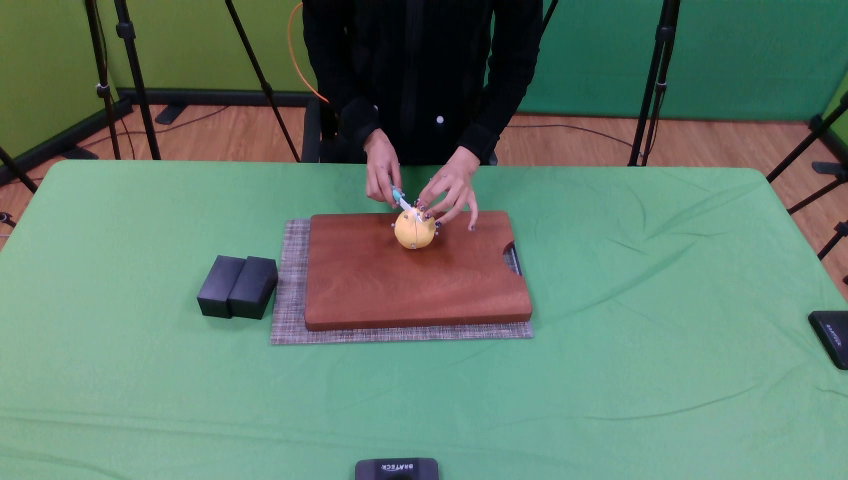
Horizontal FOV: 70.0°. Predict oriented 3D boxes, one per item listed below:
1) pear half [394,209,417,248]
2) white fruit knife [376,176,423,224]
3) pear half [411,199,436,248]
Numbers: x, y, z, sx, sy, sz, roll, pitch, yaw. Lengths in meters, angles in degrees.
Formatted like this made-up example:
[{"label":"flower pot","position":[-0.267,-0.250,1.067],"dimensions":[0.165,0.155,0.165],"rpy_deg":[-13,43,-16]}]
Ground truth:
[{"label":"pear half","position":[-0.038,-0.020,1.129],"dimensions":[0.031,0.088,0.070],"rpy_deg":[-22,57,-20]},{"label":"white fruit knife","position":[-0.047,-0.079,1.148],"dimensions":[0.016,0.027,0.206],"rpy_deg":[-21,35,-19]},{"label":"pear half","position":[-0.005,-0.039,1.134],"dimensions":[0.056,0.110,0.076],"rpy_deg":[-19,54,-22]}]
